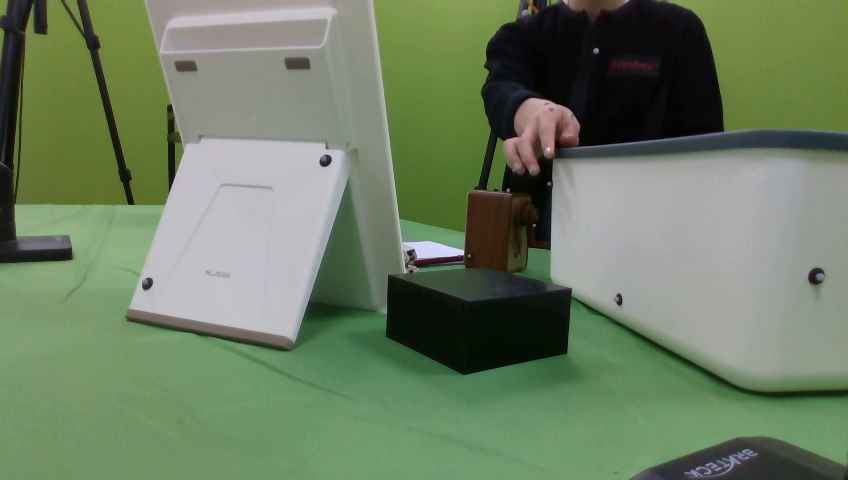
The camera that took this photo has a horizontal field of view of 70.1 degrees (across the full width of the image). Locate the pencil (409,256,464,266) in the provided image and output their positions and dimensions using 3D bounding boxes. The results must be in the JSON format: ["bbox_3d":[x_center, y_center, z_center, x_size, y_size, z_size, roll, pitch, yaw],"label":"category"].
[{"bbox_3d":[0.041,0.027,0.850,0.195,0.012,0.012,-4,10,-45],"label":"pencil"}]

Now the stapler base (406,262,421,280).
[{"bbox_3d":[-0.069,0.027,0.759,0.130,0.024,0.041,10,13,23],"label":"stapler base"}]

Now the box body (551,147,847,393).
[{"bbox_3d":[0.290,0.001,0.549,0.255,0.160,0.363,1,7,-10],"label":"box body"}]

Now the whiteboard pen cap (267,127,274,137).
[{"bbox_3d":[-0.340,-0.239,1.337,0.018,0.018,0.033,1,-1,-14],"label":"whiteboard pen cap"}]

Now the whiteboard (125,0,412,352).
[{"bbox_3d":[-0.151,-0.050,0.471,0.216,0.305,0.144,6,27,24],"label":"whiteboard"}]

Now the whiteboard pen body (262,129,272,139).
[{"bbox_3d":[-0.361,-0.245,1.393,0.017,0.017,0.140,0,5,-20],"label":"whiteboard pen body"}]

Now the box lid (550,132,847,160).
[{"bbox_3d":[0.294,-0.072,0.538,0.264,0.015,0.370,1,6,-10],"label":"box lid"}]

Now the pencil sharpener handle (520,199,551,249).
[{"bbox_3d":[0.148,-0.020,0.786,0.030,0.068,0.036,8,30,36],"label":"pencil sharpener handle"}]

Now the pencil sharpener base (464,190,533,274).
[{"bbox_3d":[0.103,-0.012,0.813,0.076,0.107,0.061,8,9,36],"label":"pencil sharpener base"}]

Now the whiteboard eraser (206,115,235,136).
[{"bbox_3d":[-0.444,-0.250,1.322,0.056,0.042,0.112,-1,8,-15],"label":"whiteboard eraser"}]

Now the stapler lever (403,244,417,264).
[{"bbox_3d":[-0.066,0.003,0.755,0.117,0.040,0.027,9,13,23],"label":"stapler lever"}]
